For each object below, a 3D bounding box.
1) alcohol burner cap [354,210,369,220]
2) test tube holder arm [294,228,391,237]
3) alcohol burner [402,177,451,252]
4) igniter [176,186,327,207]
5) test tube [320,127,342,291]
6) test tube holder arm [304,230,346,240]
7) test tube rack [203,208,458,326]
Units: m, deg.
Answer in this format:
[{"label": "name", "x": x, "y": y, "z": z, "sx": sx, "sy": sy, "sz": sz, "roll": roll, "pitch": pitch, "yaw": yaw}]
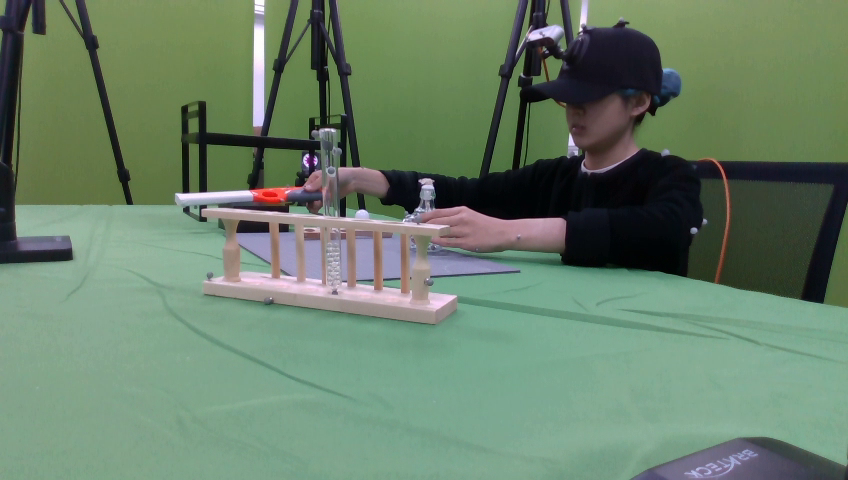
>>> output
[{"label": "alcohol burner cap", "x": -0.118, "y": -0.033, "z": 1.133, "sx": 0.034, "sy": 0.048, "sz": 0.034, "roll": 1, "pitch": 7, "yaw": 0}, {"label": "test tube holder arm", "x": -0.138, "y": -0.013, "z": 1.054, "sx": 0.179, "sy": 0.015, "sz": 0.013, "roll": -1, "pitch": 43, "yaw": -32}, {"label": "alcohol burner", "x": 0.004, "y": -0.040, "z": 0.952, "sx": 0.078, "sy": 0.119, "sz": 0.078, "roll": 4, "pitch": 7, "yaw": 0}, {"label": "igniter", "x": -0.313, "y": -0.082, "z": 1.130, "sx": 0.278, "sy": 0.025, "sz": 0.057, "roll": -6, "pitch": 27, "yaw": -34}, {"label": "test tube", "x": -0.084, "y": -0.027, "z": 0.554, "sx": 0.017, "sy": 0.150, "sz": 0.017, "roll": -1, "pitch": 7, "yaw": 0}, {"label": "test tube holder arm", "x": -0.175, "y": -0.009, "z": 1.027, "sx": 0.088, "sy": 0.015, "sz": 0.010, "roll": 0, "pitch": 43, "yaw": -31}, {"label": "test tube rack", "x": -0.090, "y": 0.019, "z": 0.579, "sx": 0.241, "sy": 0.085, "sz": 0.067, "roll": 5, "pitch": 7, "yaw": 19}]
